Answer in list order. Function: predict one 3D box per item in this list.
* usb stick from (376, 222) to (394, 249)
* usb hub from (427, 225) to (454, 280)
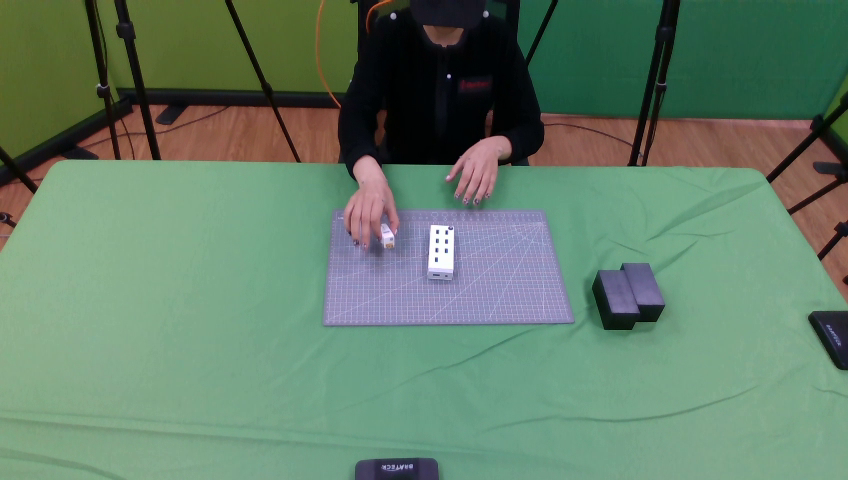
[{"bbox_3d":[-0.073,-0.006,1.156,0.021,0.027,0.059,-12,45,-20],"label":"usb stick"},{"bbox_3d":[0.033,0.022,1.174,0.049,0.025,0.124,4,46,-1],"label":"usb hub"}]
